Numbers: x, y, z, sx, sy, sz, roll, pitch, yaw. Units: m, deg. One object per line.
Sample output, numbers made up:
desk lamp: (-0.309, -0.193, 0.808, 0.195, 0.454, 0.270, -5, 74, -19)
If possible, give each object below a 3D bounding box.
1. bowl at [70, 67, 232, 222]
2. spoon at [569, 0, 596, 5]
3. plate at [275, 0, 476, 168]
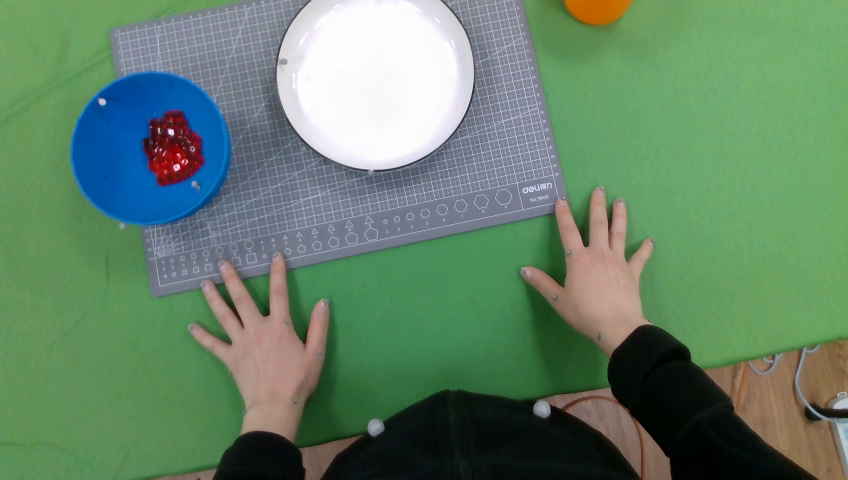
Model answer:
bowl: (-0.260, -0.088, 0.611, 0.151, 0.077, 0.151, 0, 85, 0)
spoon: (0.226, -0.277, 0.598, 0.022, 0.192, 0.041, 4, 85, -43)
plate: (-0.049, -0.176, 0.640, 0.209, 0.038, 0.208, 0, 85, 0)
